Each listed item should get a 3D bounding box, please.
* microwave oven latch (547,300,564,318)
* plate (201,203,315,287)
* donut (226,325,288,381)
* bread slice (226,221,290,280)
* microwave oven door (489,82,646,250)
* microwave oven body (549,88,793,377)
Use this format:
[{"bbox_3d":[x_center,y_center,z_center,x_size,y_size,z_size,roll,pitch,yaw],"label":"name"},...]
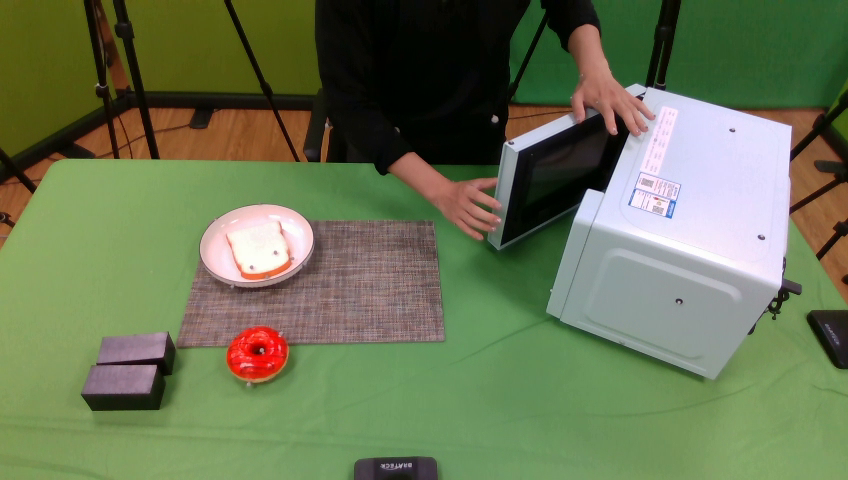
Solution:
[{"bbox_3d":[0.242,0.102,1.081,0.030,0.029,0.079,21,48,17],"label":"microwave oven latch"},{"bbox_3d":[-0.310,0.013,1.145,0.208,0.039,0.206,2,46,-2],"label":"plate"},{"bbox_3d":[-0.270,0.182,0.984,0.099,0.048,0.098,5,49,-5],"label":"donut"},{"bbox_3d":[-0.308,0.019,1.141,0.105,0.019,0.130,-17,49,-18],"label":"bread slice"},{"bbox_3d":[0.281,-0.146,1.180,0.356,0.245,0.039,-28,53,-26],"label":"microwave oven door"},{"bbox_3d":[0.456,-0.028,1.088,0.325,0.261,0.440,20,47,16],"label":"microwave oven body"}]
